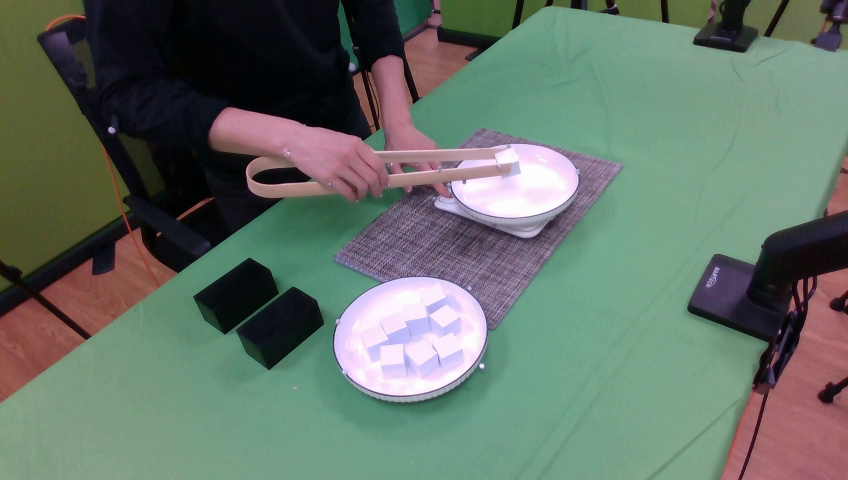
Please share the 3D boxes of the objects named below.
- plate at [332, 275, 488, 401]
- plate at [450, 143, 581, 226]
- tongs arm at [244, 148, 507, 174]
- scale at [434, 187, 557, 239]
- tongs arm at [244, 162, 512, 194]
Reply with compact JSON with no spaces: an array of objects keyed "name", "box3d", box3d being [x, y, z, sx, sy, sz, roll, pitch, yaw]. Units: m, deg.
[{"name":"plate","box3d":[-0.017,0.130,0.808,0.207,0.039,0.206,-4,41,4]},{"name":"plate","box3d":[0.148,-0.087,0.986,0.209,0.038,0.208,-4,41,4]},{"name":"tongs arm","box3d":[-0.062,-0.118,0.889,0.389,0.028,0.028,-4,59,-13]},{"name":"scale","box3d":[0.132,-0.074,1.025,0.199,0.032,0.149,22,48,30]},{"name":"tongs arm","box3d":[-0.058,-0.100,0.876,0.387,0.026,0.050,-8,56,-16]}]
